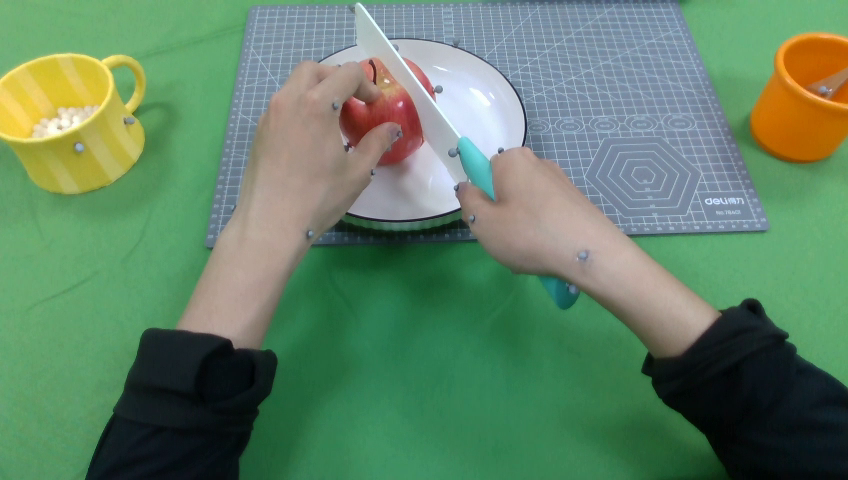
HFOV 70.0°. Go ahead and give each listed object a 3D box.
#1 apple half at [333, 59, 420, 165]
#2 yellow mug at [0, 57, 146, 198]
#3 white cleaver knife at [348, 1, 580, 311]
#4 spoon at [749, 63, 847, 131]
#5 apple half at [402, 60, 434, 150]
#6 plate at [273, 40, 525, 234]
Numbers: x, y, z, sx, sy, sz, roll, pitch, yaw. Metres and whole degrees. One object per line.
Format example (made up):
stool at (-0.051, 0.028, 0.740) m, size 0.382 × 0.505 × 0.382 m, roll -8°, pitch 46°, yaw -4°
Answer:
apple half at (-0.044, -0.096, 0.489) m, size 0.053 × 0.075 × 0.080 m, roll -32°, pitch 66°, yaw -14°
yellow mug at (-0.288, -0.105, 0.511) m, size 0.099 × 0.064 × 0.130 m, roll 28°, pitch 61°, yaw 17°
white cleaver knife at (0.020, -0.067, 0.441) m, size 0.021 × 0.066 × 0.284 m, roll -29°, pitch 70°, yaw -13°
spoon at (0.363, -0.148, 0.490) m, size 0.022 × 0.194 × 0.041 m, roll 25°, pitch 44°, yaw -38°
apple half at (-0.011, -0.115, 0.500) m, size 0.033 × 0.082 × 0.080 m, roll -32°, pitch 62°, yaw -16°
plate at (-0.021, -0.088, 0.514) m, size 0.209 × 0.038 × 0.207 m, roll 0°, pitch 57°, yaw 0°
